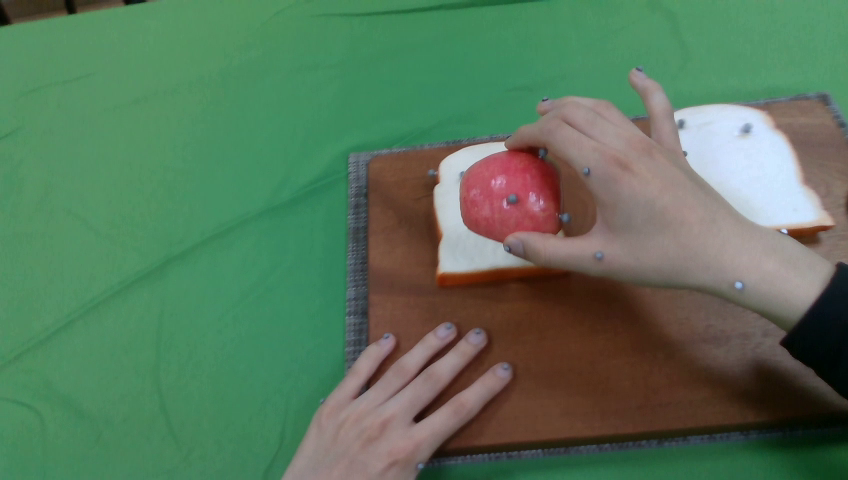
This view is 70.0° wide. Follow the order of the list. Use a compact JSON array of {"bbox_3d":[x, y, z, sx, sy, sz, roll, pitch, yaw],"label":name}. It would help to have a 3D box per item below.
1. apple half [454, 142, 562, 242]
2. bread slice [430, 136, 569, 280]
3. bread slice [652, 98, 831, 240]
[{"bbox_3d":[0.057,-0.039,0.409,0.081,0.033,0.080,-1,66,3],"label":"apple half"},{"bbox_3d":[0.054,-0.031,0.492,0.105,0.019,0.130,-6,58,3],"label":"bread slice"},{"bbox_3d":[0.237,-0.060,0.481,0.107,0.018,0.133,-8,56,3],"label":"bread slice"}]
